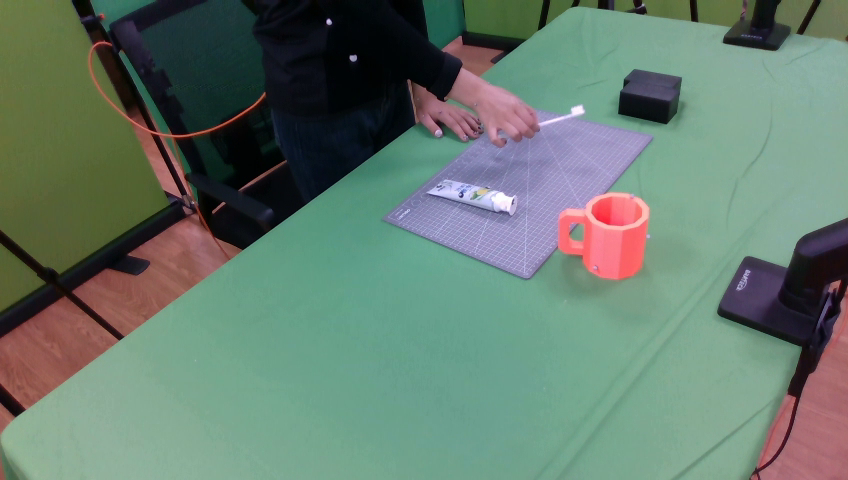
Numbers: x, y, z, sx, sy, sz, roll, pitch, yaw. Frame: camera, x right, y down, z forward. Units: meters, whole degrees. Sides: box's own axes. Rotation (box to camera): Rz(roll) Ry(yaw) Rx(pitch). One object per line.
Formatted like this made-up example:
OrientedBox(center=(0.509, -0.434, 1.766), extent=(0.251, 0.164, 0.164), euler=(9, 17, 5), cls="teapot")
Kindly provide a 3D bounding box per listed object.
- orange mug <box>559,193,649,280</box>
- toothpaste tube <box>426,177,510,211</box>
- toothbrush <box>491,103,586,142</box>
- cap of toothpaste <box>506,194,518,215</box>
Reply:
OrientedBox(center=(0.261, -0.008, 0.884), extent=(0.126, 0.101, 0.083), euler=(9, 43, 14), cls="orange mug")
OrientedBox(center=(0.083, -0.081, 1.054), extent=(0.164, 0.034, 0.055), euler=(18, 40, 34), cls="toothpaste tube")
OrientedBox(center=(0.206, -0.213, 1.107), extent=(0.181, 0.016, 0.014), euler=(-16, 8, 25), cls="toothbrush")
OrientedBox(center=(0.146, -0.060, 1.008), extent=(0.011, 0.037, 0.037), euler=(14, 46, 22), cls="cap of toothpaste")
